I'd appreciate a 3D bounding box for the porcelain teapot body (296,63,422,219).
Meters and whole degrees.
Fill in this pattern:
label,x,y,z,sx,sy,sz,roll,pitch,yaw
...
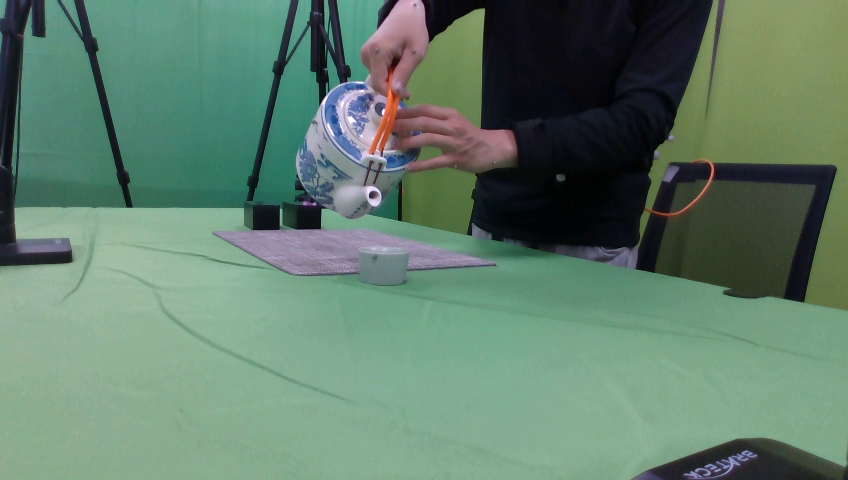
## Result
label,x,y,z,sx,sy,sz,roll,pitch,yaw
porcelain teapot body,-0.076,-0.114,0.802,0.146,0.205,0.224,10,-30,-24

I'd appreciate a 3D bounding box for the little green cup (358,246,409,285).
label,x,y,z,sx,sy,sz,roll,pitch,yaw
little green cup,-0.048,0.029,0.707,0.061,0.038,0.061,2,8,0

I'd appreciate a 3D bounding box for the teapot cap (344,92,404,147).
label,x,y,z,sx,sy,sz,roll,pitch,yaw
teapot cap,-0.062,-0.158,0.784,0.085,0.085,0.043,-2,-21,-30
